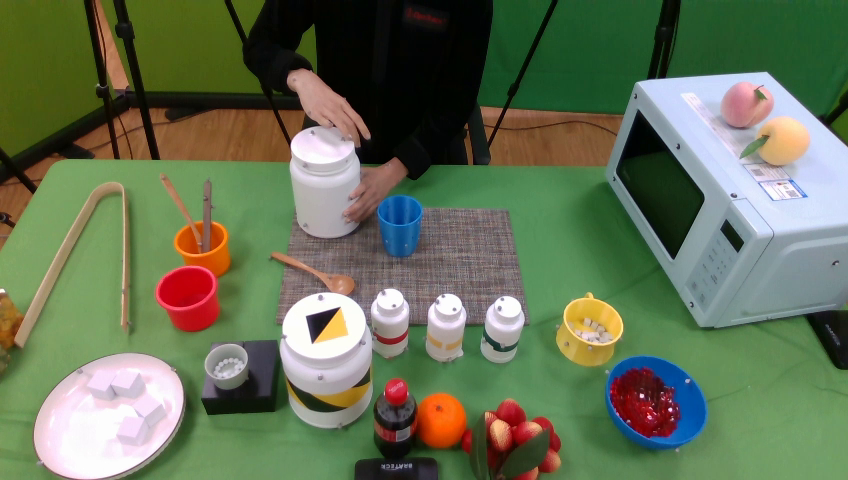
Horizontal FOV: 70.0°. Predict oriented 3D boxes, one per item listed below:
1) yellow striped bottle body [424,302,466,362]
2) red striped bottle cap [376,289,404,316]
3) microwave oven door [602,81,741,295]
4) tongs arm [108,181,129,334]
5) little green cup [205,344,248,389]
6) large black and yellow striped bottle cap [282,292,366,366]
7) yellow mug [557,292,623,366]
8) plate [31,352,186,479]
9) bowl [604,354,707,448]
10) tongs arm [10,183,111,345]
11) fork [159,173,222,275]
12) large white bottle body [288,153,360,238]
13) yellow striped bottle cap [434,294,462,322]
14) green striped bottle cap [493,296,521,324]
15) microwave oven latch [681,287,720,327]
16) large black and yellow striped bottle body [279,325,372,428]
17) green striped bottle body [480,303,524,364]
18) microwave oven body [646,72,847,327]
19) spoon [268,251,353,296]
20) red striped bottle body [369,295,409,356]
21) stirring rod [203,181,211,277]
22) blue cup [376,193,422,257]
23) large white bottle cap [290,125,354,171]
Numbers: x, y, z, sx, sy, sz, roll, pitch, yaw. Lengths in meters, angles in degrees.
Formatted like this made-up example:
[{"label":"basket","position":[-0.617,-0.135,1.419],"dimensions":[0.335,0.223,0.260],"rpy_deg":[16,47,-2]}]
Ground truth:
[{"label":"yellow striped bottle body","position":[0.035,0.143,0.995],"dimensions":[0.063,0.121,0.062],"rpy_deg":[3,46,-3]},{"label":"red striped bottle cap","position":[-0.054,0.098,0.958],"dimensions":[0.044,0.018,0.044],"rpy_deg":[0,48,1]},{"label":"microwave oven door","position":[0.456,-0.107,1.162],"dimensions":[0.039,0.245,0.353],"rpy_deg":[-7,47,-11]},{"label":"tongs arm","position":[-0.571,0.019,1.123],"dimensions":[0.051,0.026,0.382],"rpy_deg":[-10,47,-12]},{"label":"little green cup","position":[-0.294,0.191,0.909],"dimensions":[0.061,0.039,0.061],"rpy_deg":[1,47,-1]},{"label":"large black and yellow striped bottle cap","position":[-0.138,0.121,0.841],"dimensions":[0.115,0.019,0.114],"rpy_deg":[3,47,-3]},{"label":"yellow mug","position":[0.285,0.145,1.051],"dimensions":[0.100,0.064,0.130],"rpy_deg":[7,46,4]},{"label":"plate","position":[-0.459,0.262,0.898],"dimensions":[0.209,0.038,0.208],"rpy_deg":[2,46,-2]},{"label":"bowl","position":[0.346,0.261,0.937],"dimensions":[0.151,0.077,0.150],"rpy_deg":[2,46,-2]},{"label":"tongs arm","position":[-0.658,0.027,1.109],"dimensions":[0.028,0.028,0.385],"rpy_deg":[-2,45,1]},{"label":"fork","position":[-0.427,-0.029,1.103],"dimensions":[0.028,0.018,0.207],"rpy_deg":[-31,99,-31]},{"label":"large white bottle body","position":[-0.191,-0.108,1.168],"dimensions":[0.131,0.185,0.130],"rpy_deg":[2,46,-2]},{"label":"yellow striped bottle cap","position":[0.038,0.107,0.958],"dimensions":[0.044,0.019,0.044],"rpy_deg":[2,45,-2]},{"label":"green striped bottle cap","position":[0.133,0.111,0.962],"dimensions":[0.044,0.020,0.044],"rpy_deg":[2,47,-2]},{"label":"microwave oven latch","position":[0.494,0.119,1.087],"dimensions":[0.030,0.029,0.078],"rpy_deg":[-5,46,-9]},{"label":"large black and yellow striped bottle body","position":[-0.143,0.181,0.900],"dimensions":[0.131,0.185,0.130],"rpy_deg":[2,46,-2]},{"label":"green striped bottle body","position":[0.129,0.147,1.000],"dimensions":[0.063,0.120,0.063],"rpy_deg":[2,46,-2]},{"label":"microwave oven body","position":[0.607,-0.089,1.164],"dimensions":[0.326,0.261,0.438],"rpy_deg":[-7,46,-10]},{"label":"spoon","position":[-0.212,0.057,1.121],"dimensions":[0.193,0.022,0.041],"rpy_deg":[24,74,18]},{"label":"red striped bottle body","position":[-0.059,0.134,0.997],"dimensions":[0.063,0.120,0.062],"rpy_deg":[5,48,-5]},{"label":"stirring rod","position":[-0.396,-0.021,1.107],"dimensions":[0.014,0.006,0.176],"rpy_deg":[-1,89,-2]},{"label":"blue cup","position":[-0.047,-0.021,1.155],"dimensions":[0.093,0.101,0.092],"rpy_deg":[1,46,-1]},{"label":"large white bottle cap","position":[-0.186,-0.169,1.104],"dimensions":[0.115,0.018,0.114],"rpy_deg":[2,47,-2]}]
